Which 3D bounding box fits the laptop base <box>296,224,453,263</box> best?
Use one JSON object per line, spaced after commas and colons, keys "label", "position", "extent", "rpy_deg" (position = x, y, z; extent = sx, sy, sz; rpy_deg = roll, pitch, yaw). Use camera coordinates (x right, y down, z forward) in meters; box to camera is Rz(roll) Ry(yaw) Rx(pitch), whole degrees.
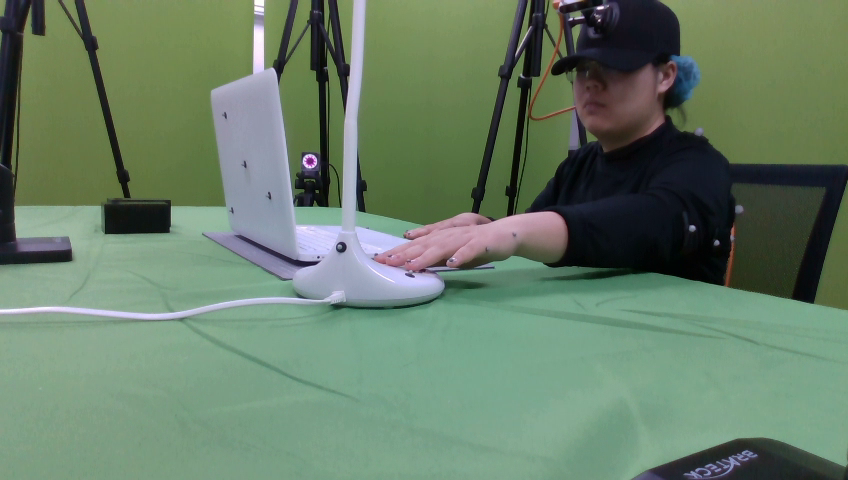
{"label": "laptop base", "position": [-0.143, 0.004, 0.957], "extent": [0.237, 0.023, 0.352], "rpy_deg": [2, 7, -32]}

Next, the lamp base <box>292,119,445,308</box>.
{"label": "lamp base", "position": [-0.056, -0.030, 0.616], "extent": [0.160, 0.180, 0.179], "rpy_deg": [3, 10, 8]}

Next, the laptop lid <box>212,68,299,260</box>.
{"label": "laptop lid", "position": [-0.254, -0.110, 0.872], "extent": [0.013, 0.241, 0.355], "rpy_deg": [-11, 14, -29]}
